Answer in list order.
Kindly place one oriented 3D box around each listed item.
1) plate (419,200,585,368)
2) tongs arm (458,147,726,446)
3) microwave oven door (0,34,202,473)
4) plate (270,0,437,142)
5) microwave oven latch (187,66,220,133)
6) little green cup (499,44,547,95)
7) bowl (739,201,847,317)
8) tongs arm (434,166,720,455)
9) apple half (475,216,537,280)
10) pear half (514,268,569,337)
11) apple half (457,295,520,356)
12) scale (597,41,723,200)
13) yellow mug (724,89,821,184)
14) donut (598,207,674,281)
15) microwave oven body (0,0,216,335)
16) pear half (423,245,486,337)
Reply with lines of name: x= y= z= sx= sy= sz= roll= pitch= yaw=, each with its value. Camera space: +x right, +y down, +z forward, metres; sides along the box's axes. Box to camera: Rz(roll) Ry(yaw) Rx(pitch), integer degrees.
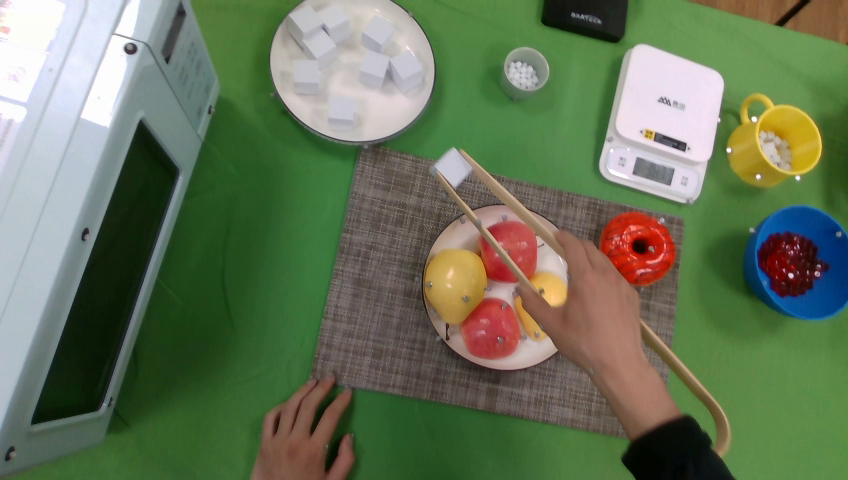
plate: x=0.096 y=0.054 z=0.754 sx=0.210 sy=0.038 sz=0.208 roll=2 pitch=79 yaw=-9
tongs arm: x=0.162 y=0.046 z=0.616 sx=0.028 sy=0.028 sz=0.385 roll=-38 pitch=78 yaw=-15
microwave oven door: x=-0.303 y=0.020 z=0.573 sx=0.039 sy=0.244 sz=0.354 roll=15 pitch=78 yaw=-6
plate: x=-0.088 y=-0.221 z=0.775 sx=0.208 sy=0.039 sz=0.207 roll=2 pitch=80 yaw=-9
microwave oven latch: x=-0.266 y=-0.169 z=0.717 sx=0.030 sy=0.029 sz=0.079 roll=17 pitch=78 yaw=-7
little green cup: x=0.130 y=-0.226 z=0.813 sx=0.062 sy=0.038 sz=0.061 roll=2 pitch=79 yaw=-9
bowl: x=0.479 y=0.029 z=0.807 sx=0.152 sy=0.077 sz=0.151 roll=2 pitch=81 yaw=-9
tongs arm: x=0.144 y=0.060 z=0.611 sx=0.051 sy=0.026 sz=0.383 roll=-35 pitch=77 yaw=-11
apple half: x=0.103 y=0.008 z=0.746 sx=0.075 sy=0.053 sz=0.080 roll=0 pitch=83 yaw=-6
pear half: x=0.147 y=0.076 z=0.753 sx=0.070 sy=0.031 sz=0.087 roll=11 pitch=76 yaw=6
apple half: x=0.082 y=0.103 z=0.734 sx=0.081 sy=0.033 sz=0.081 roll=3 pitch=73 yaw=-10
scale: x=0.328 y=-0.166 z=0.839 sx=0.149 sy=0.031 sz=0.200 roll=17 pitch=78 yaw=-6
yellow mug: x=0.478 y=-0.149 z=0.844 sx=0.100 sy=0.064 sz=0.130 roll=-20 pitch=83 yaw=-12
donut: x=0.274 y=0.005 z=0.790 sx=0.099 sy=0.048 sz=0.098 roll=1 pitch=80 yaw=-6
microwave oven body: x=-0.434 y=-0.057 z=0.569 sx=0.327 sy=0.260 sz=0.440 roll=15 pitch=79 yaw=-7
pear half: x=0.037 y=0.061 z=0.721 sx=0.077 sy=0.056 sz=0.109 roll=8 pitch=81 yaw=-18
